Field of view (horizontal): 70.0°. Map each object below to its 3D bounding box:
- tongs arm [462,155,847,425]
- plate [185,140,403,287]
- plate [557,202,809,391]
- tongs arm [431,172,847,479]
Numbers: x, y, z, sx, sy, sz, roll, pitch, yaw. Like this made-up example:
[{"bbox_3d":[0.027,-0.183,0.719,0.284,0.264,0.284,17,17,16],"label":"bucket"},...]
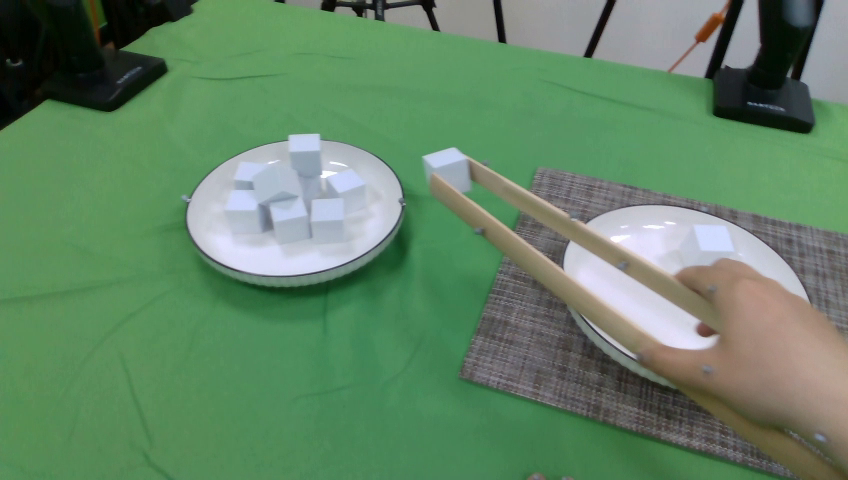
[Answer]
[{"bbox_3d":[0.156,0.041,0.431,0.381,0.027,0.051,35,55,29],"label":"tongs arm"},{"bbox_3d":[-0.125,-0.027,0.602,0.209,0.038,0.207,1,44,-1],"label":"plate"},{"bbox_3d":[0.219,0.047,0.533,0.208,0.039,0.205,1,44,-1],"label":"plate"},{"bbox_3d":[0.137,0.053,0.420,0.028,0.028,0.383,-30,53,-31],"label":"tongs arm"}]
